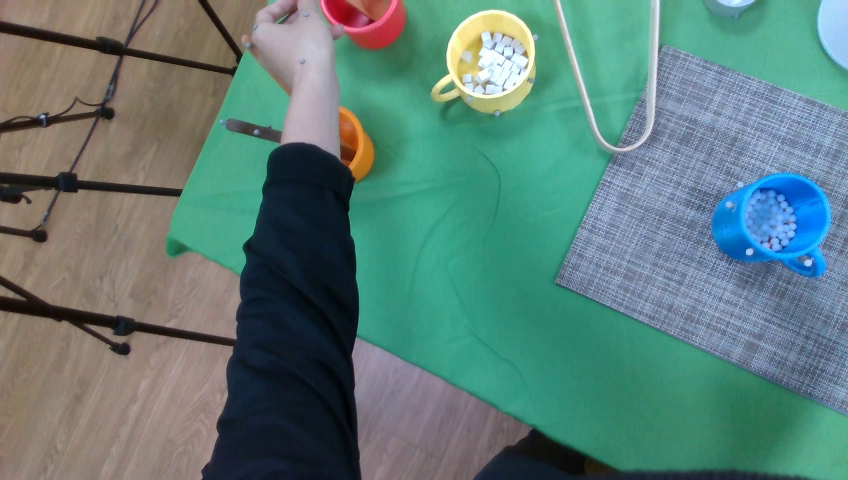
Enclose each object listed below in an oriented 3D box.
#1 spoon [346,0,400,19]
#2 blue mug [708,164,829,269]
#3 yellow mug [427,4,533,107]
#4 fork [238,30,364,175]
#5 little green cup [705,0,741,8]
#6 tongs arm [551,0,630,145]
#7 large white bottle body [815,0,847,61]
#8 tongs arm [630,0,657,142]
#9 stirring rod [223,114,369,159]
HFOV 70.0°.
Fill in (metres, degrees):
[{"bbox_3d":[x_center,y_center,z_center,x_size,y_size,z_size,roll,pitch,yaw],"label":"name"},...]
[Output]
[{"bbox_3d":[-0.117,-0.293,0.706,0.195,0.021,0.041,1,86,-34],"label":"spoon"},{"bbox_3d":[0.361,-0.016,0.623,0.082,0.106,0.116,-40,82,7],"label":"blue mug"},{"bbox_3d":[0.062,-0.206,0.709,0.131,0.064,0.099,-28,84,10],"label":"yellow mug"},{"bbox_3d":[-0.139,-0.155,0.701,0.028,0.018,0.209,-36,125,6],"label":"fork"},{"bbox_3d":[0.339,-0.291,0.675,0.061,0.039,0.061,0,89,11],"label":"little green cup"},{"bbox_3d":[0.163,-0.291,0.688,0.051,0.026,0.385,-14,92,6],"label":"tongs arm"},{"bbox_3d":[0.477,-0.256,0.574,0.130,0.185,0.130,0,87,11],"label":"large white bottle body"},{"bbox_3d":[0.245,-0.305,0.676,0.028,0.028,0.388,0,95,2],"label":"tongs arm"},{"bbox_3d":[-0.144,-0.119,0.707,0.177,0.006,0.014,10,82,-30],"label":"stirring rod"}]
